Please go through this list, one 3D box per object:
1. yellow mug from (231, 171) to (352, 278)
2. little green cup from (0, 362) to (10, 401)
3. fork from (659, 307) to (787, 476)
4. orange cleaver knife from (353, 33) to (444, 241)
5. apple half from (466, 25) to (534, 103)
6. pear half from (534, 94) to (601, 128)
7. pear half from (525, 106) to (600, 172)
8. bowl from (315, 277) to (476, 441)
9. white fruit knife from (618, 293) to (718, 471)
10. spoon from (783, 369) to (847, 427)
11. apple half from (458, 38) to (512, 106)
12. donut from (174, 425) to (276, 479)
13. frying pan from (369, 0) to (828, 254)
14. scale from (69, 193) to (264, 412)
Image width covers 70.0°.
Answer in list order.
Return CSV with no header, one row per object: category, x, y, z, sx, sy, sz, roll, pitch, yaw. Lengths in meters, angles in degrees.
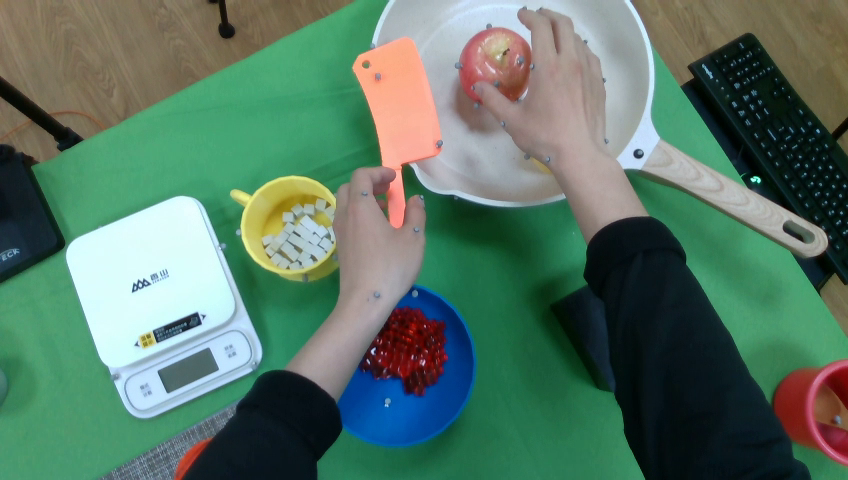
yellow mug,-0.143,-0.021,0.626,0.130,0.064,0.100,28,82,5
little green cup,-0.457,0.146,0.613,0.061,0.039,0.061,0,80,0
fork,0.299,0.152,0.598,0.028,0.018,0.208,-38,98,-7
orange cleaver knife,-0.020,-0.106,0.603,0.077,0.012,0.210,-10,81,-1
apple half,0.087,-0.192,0.646,0.053,0.075,0.080,-37,79,-10
pear half,0.150,-0.136,0.630,0.070,0.088,0.031,8,83,5
pear half,0.141,-0.102,0.614,0.076,0.110,0.056,8,80,6
bowl,-0.026,0.116,0.598,0.151,0.077,0.151,0,81,0
white fruit knife,0.237,0.141,0.593,0.016,0.027,0.208,-30,96,-4
spoon,0.417,0.186,0.552,0.041,0.022,0.191,-34,37,-6
apple half,0.056,-0.168,0.641,0.033,0.081,0.081,-36,82,-11
donut,-0.194,0.232,0.591,0.099,0.048,0.098,0,82,2
frying pan,0.174,-0.119,0.624,0.485,0.103,0.306,33,83,13
scale,-0.267,0.062,0.630,0.149,0.031,0.200,-24,82,-3
